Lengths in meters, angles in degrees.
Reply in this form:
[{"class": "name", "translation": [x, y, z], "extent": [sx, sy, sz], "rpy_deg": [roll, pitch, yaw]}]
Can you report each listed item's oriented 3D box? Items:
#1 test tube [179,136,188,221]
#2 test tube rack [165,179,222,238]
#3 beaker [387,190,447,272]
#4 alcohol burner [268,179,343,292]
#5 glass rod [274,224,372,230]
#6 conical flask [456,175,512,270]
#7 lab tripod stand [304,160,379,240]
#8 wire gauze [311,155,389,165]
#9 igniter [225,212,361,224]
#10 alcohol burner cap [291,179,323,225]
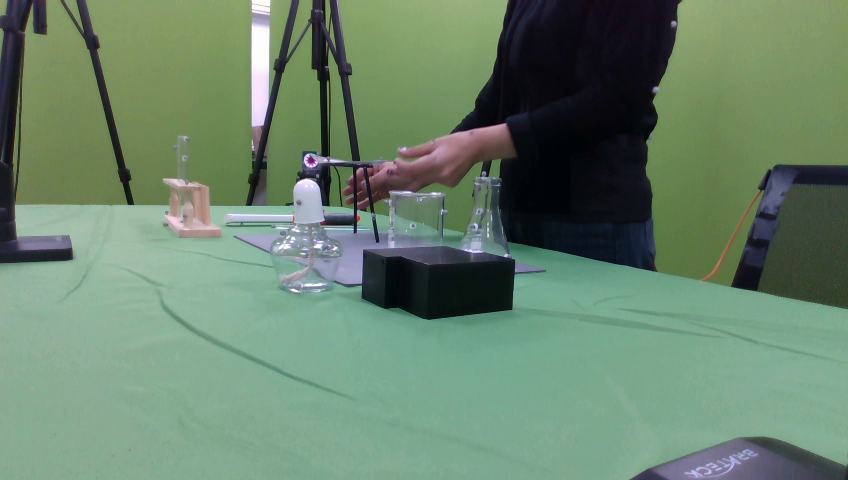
[{"class": "test tube", "translation": [-0.425, -0.108, 1.070], "extent": [0.017, 0.150, 0.017], "rpy_deg": [4, 9, 0]}, {"class": "test tube rack", "translation": [-0.423, -0.062, 1.098], "extent": [0.067, 0.085, 0.241], "rpy_deg": [-2, 9, -28]}, {"class": "beaker", "translation": [-0.010, -0.013, 0.771], "extent": [0.074, 0.100, 0.084], "rpy_deg": [3, 7, 4]}, {"class": "alcohol burner", "translation": [-0.124, -0.005, 0.637], "extent": [0.078, 0.119, 0.078], "rpy_deg": [4, 8, 0]}, {"class": "glass rod", "translation": [-0.193, -0.024, 1.176], "extent": [0.201, 0.008, 0.008], "rpy_deg": [1, 6, -31]}, {"class": "conical flask", "translation": [0.082, -0.025, 0.801], "extent": [0.075, 0.122, 0.075], "rpy_deg": [2, 7, 0]}, {"class": "lab tripod stand", "translation": [-0.130, -0.071, 1.046], "extent": [0.148, 0.131, 0.148], "rpy_deg": [4, 7, 0]}, {"class": "wire gauze", "translation": [-0.128, -0.137, 1.042], "extent": [0.122, 0.011, 0.124], "rpy_deg": [1, 8, -18]}, {"class": "igniter", "translation": [-0.262, -0.044, 1.240], "extent": [0.278, 0.025, 0.057], "rpy_deg": [-2, -1, -31]}, {"class": "alcohol burner cap", "translation": [-0.124, -0.040, 0.632], "extent": [0.034, 0.048, 0.034], "rpy_deg": [-3, 10, 1]}]
